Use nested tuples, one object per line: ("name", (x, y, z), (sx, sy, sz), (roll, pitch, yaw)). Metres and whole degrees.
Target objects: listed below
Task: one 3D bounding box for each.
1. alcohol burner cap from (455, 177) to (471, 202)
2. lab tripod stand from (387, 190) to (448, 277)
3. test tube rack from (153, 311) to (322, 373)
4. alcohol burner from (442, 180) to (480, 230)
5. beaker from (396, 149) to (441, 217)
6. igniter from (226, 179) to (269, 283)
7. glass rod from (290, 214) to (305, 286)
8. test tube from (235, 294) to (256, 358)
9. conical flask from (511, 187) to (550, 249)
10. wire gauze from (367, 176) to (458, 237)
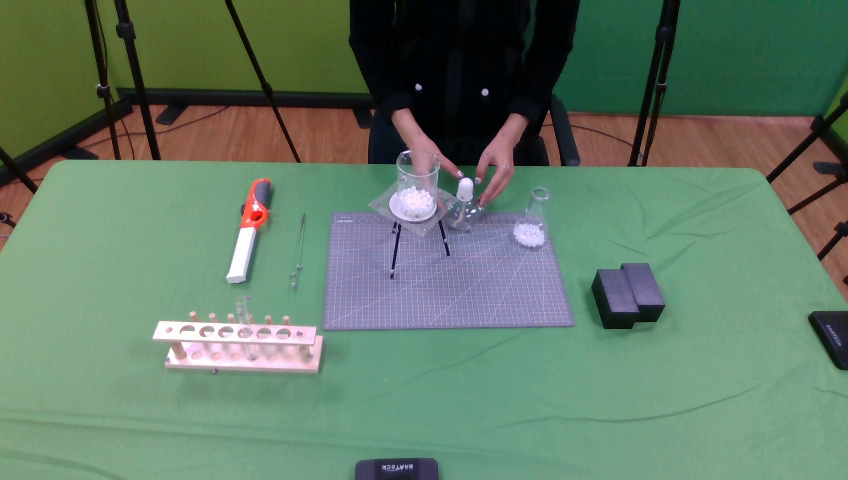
("alcohol burner cap", (0.078, -0.101, 1.186), (0.034, 0.048, 0.033), (1, 53, 0))
("lab tripod stand", (-0.021, -0.018, 1.135), (0.148, 0.132, 0.147), (3, 44, -3))
("test tube rack", (-0.293, 0.160, 0.978), (0.242, 0.085, 0.066), (3, 46, -2))
("alcohol burner", (0.076, -0.077, 1.213), (0.078, 0.119, 0.077), (4, 46, -4))
("beaker", (-0.015, -0.098, 1.053), (0.074, 0.101, 0.083), (-31, 55, -30))
("igniter", (-0.345, -0.027, 1.195), (0.057, 0.025, 0.274), (-6, 46, 5))
("glass rod", (-0.245, 0.015, 1.176), (0.008, 0.008, 0.198), (1, 43, -3))
("test tube", (-0.274, 0.136, 0.933), (0.017, 0.151, 0.017), (4, 46, -4))
("conical flask", (0.217, -0.048, 1.190), (0.075, 0.122, 0.075), (2, 46, -2))
("wire gauze", (-0.020, -0.066, 1.089), (0.124, 0.011, 0.121), (27, 47, 22))
